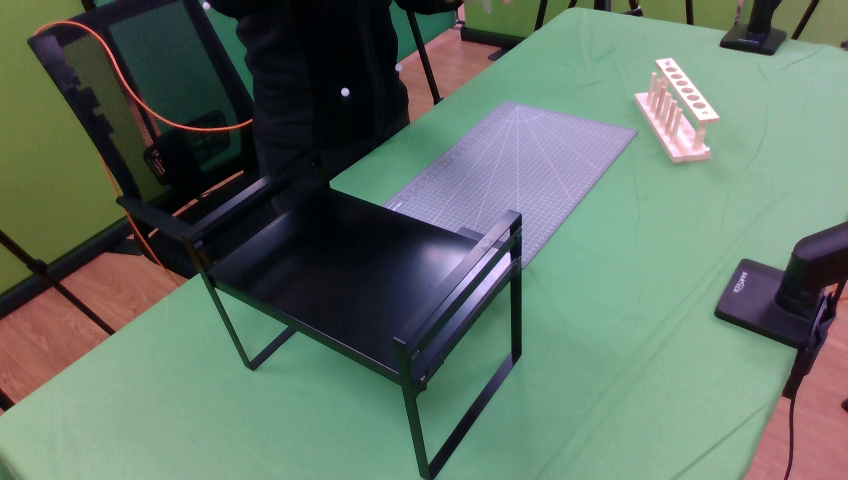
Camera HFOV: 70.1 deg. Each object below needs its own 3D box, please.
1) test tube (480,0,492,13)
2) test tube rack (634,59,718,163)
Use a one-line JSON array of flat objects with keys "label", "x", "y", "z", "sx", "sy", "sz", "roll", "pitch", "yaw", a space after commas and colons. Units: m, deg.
[{"label": "test tube", "x": 0.087, "y": -0.402, "z": 0.942, "sx": 0.017, "sy": 0.151, "sz": 0.017, "roll": -4, "pitch": 76, "yaw": 16}, {"label": "test tube rack", "x": 0.470, "y": -0.251, "z": 1.148, "sx": 0.067, "sy": 0.085, "sz": 0.241, "roll": -6, "pitch": 40, "yaw": 3}]
